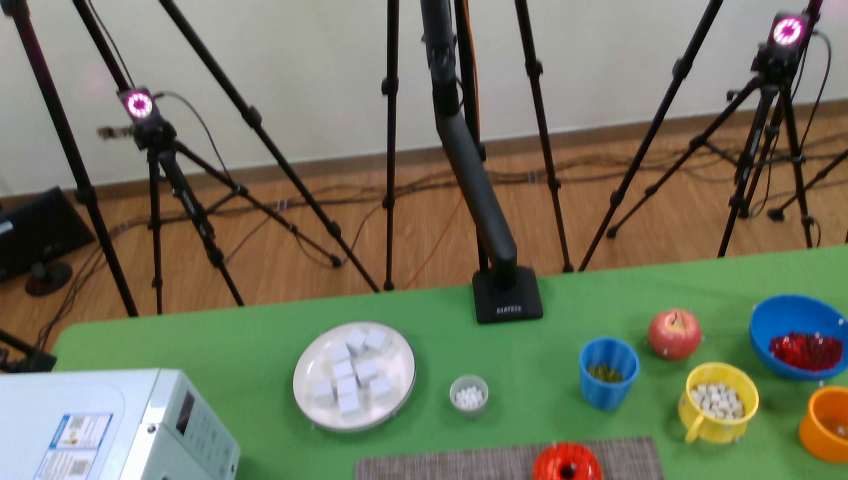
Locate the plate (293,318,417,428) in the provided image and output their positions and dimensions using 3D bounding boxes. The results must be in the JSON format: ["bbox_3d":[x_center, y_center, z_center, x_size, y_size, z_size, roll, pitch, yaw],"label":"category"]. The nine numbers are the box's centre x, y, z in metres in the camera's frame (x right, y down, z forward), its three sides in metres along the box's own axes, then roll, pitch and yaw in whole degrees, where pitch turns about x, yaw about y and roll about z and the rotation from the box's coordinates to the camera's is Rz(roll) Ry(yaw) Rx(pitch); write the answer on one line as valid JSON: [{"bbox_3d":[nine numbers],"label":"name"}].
[{"bbox_3d":[-0.113,0.225,1.020,0.207,0.039,0.205,-4,47,5],"label":"plate"}]

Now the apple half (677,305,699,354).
[{"bbox_3d":[0.429,0.146,0.985,0.033,0.082,0.080,-4,47,10],"label":"apple half"}]

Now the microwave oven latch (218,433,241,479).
[{"bbox_3d":[-0.301,0.335,0.920,0.030,0.030,0.078,-2,48,6],"label":"microwave oven latch"}]

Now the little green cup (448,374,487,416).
[{"bbox_3d":[0.072,0.249,0.969,0.061,0.039,0.061,-4,47,5],"label":"little green cup"}]

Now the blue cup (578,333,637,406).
[{"bbox_3d":[0.276,0.207,0.934,0.092,0.101,0.091,-4,48,4],"label":"blue cup"}]

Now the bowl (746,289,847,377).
[{"bbox_3d":[0.578,0.159,0.949,0.151,0.077,0.150,-5,47,5],"label":"bowl"}]

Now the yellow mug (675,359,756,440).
[{"bbox_3d":[0.423,0.246,0.899,0.131,0.064,0.099,-39,53,-23],"label":"yellow mug"}]

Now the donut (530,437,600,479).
[{"bbox_3d":[0.201,0.331,0.864,0.099,0.049,0.098,-5,49,6],"label":"donut"}]

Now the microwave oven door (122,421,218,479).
[{"bbox_3d":[-0.320,0.426,0.697,0.039,0.246,0.352,-4,47,6],"label":"microwave oven door"}]

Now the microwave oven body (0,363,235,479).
[{"bbox_3d":[-0.464,0.408,0.743,0.326,0.263,0.437,-3,48,5],"label":"microwave oven body"}]

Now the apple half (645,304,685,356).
[{"bbox_3d":[0.390,0.149,0.990,0.053,0.075,0.080,-4,50,10],"label":"apple half"}]

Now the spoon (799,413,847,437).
[{"bbox_3d":[0.598,0.255,0.807,0.041,0.193,0.022,-37,96,-24],"label":"spoon"}]
